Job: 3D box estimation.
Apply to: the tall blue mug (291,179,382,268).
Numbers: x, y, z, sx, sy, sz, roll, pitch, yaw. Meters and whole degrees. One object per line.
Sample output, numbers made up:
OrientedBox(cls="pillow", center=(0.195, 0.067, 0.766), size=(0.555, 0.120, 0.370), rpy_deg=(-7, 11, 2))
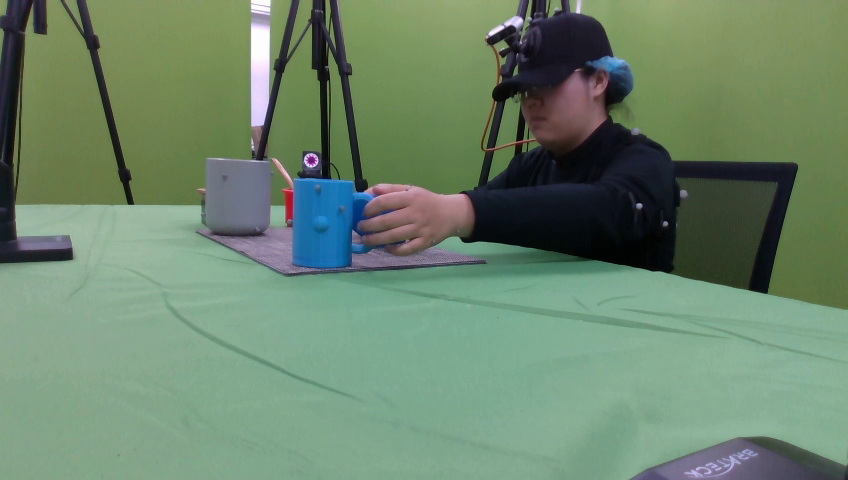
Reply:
OrientedBox(cls="tall blue mug", center=(-0.116, -0.023, 0.779), size=(0.108, 0.108, 0.077), rpy_deg=(-2, 8, -34))

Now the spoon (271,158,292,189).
OrientedBox(cls="spoon", center=(-0.268, -0.103, 1.236), size=(0.042, 0.193, 0.021), rpy_deg=(-9, -32, -40))

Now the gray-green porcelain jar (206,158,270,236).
OrientedBox(cls="gray-green porcelain jar", center=(-0.317, -0.074, 1.032), size=(0.106, 0.126, 0.106), rpy_deg=(3, 7, 0))

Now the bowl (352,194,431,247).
OrientedBox(cls="bowl", center=(-0.066, -0.032, 0.984), size=(0.151, 0.077, 0.151), rpy_deg=(2, 7, 0))

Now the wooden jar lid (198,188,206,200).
OrientedBox(cls="wooden jar lid", center=(-0.382, -0.088, 1.175), size=(0.108, 0.020, 0.108), rpy_deg=(3, 8, 0))
